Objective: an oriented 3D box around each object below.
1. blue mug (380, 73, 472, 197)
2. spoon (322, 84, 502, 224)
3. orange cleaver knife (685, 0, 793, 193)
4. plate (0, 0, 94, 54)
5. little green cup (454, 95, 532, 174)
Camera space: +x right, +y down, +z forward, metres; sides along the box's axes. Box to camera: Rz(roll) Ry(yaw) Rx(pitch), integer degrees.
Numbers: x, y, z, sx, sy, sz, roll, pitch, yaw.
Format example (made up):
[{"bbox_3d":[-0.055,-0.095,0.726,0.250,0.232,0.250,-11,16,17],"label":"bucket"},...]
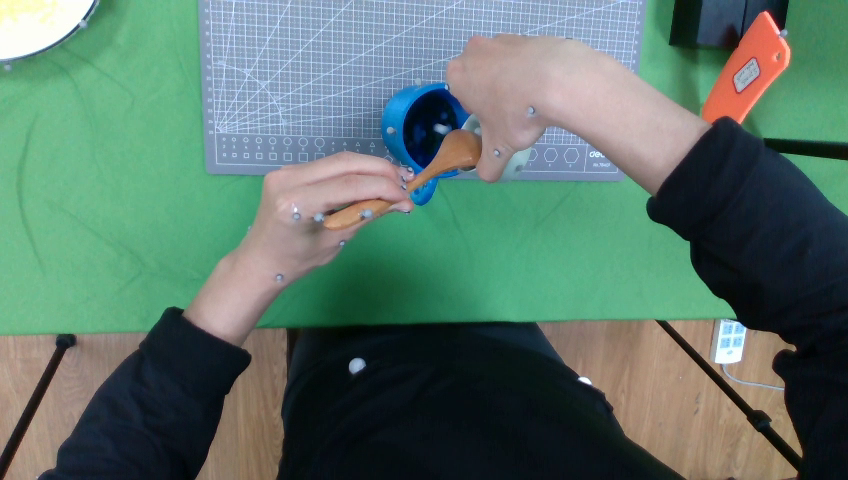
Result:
[{"bbox_3d":[0.003,-0.099,0.580,0.082,0.105,0.117,7,103,-14],"label":"blue mug"},{"bbox_3d":[-0.002,-0.064,0.441,0.193,0.021,0.042,-42,96,-30],"label":"spoon"},{"bbox_3d":[0.325,-0.146,0.652,0.012,0.076,0.213,-2,136,-13],"label":"orange cleaver knife"},{"bbox_3d":[-0.366,-0.259,0.489,0.210,0.038,0.210,-3,106,-11],"label":"plate"},{"bbox_3d":[0.059,-0.086,0.507,0.039,0.061,0.061,20,100,-34],"label":"little green cup"}]
